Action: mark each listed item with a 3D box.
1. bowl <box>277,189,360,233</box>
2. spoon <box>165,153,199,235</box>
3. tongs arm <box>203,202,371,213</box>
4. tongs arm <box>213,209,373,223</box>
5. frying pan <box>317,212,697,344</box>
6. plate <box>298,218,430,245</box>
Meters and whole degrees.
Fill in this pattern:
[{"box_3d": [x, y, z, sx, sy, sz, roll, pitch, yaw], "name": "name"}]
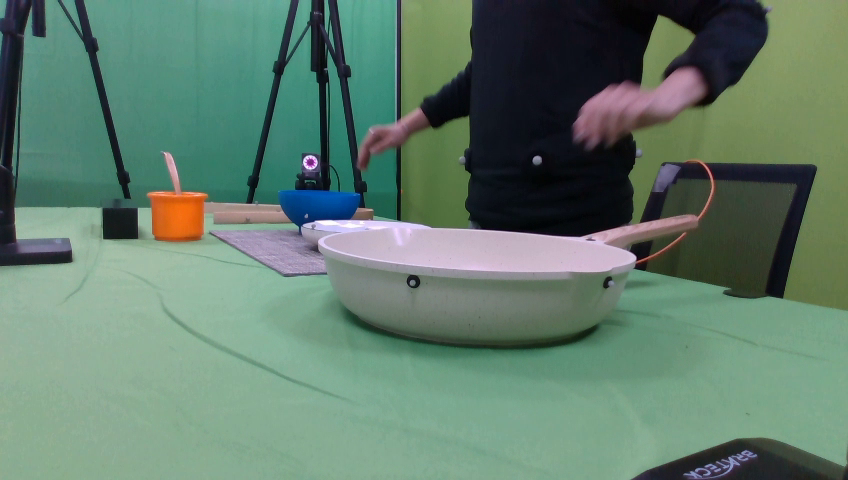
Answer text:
[{"box_3d": [-0.195, -0.052, 1.118, 0.151, 0.077, 0.151, 2, 7, 0], "name": "bowl"}, {"box_3d": [-0.417, -0.081, 1.027, 0.042, 0.193, 0.021, 1, -37, -37], "name": "spoon"}, {"box_3d": [-0.312, -0.069, 1.418, 0.387, 0.026, 0.050, 0, 8, -24], "name": "tongs arm"}, {"box_3d": [-0.274, -0.054, 1.347, 0.390, 0.028, 0.028, -3, 7, -37], "name": "tongs arm"}, {"box_3d": [0.133, 0.013, 0.629, 0.490, 0.102, 0.305, -12, 14, -31], "name": "frying pan"}, {"box_3d": [-0.092, -0.006, 0.949, 0.208, 0.039, 0.207, 2, 7, 0], "name": "plate"}]
